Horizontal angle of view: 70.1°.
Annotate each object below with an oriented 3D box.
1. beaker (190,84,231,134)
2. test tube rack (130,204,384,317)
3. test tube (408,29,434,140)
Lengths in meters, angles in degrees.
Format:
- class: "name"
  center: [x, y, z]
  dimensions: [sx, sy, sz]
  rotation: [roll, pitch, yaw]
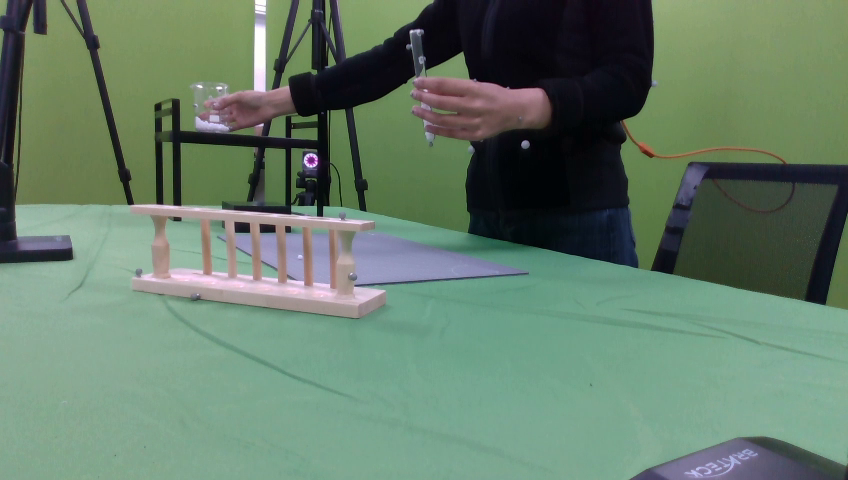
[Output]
- class: "beaker"
  center: [-0.451, -0.277, 1.284]
  dimensions: [0.084, 0.100, 0.073]
  rotation: [-6, 9, -39]
- class: "test tube rack"
  center: [-0.163, 0.013, 0.589]
  dimensions: [0.242, 0.085, 0.067]
  rotation: [5, 8, 17]
- class: "test tube"
  center: [-0.004, -0.214, 0.838]
  dimensions: [0.017, 0.150, 0.017]
  rotation: [-9, 14, 2]
